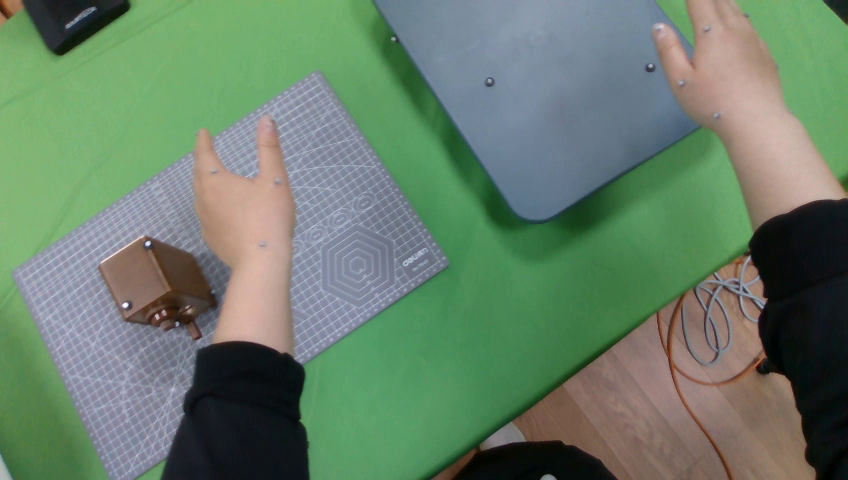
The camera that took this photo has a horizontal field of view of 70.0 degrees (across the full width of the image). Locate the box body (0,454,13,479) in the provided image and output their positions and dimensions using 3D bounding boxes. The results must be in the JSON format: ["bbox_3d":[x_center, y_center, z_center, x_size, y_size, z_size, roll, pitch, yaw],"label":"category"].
[{"bbox_3d":[-0.604,0.277,0.624,0.254,0.161,0.362,-37,77,-3],"label":"box body"}]

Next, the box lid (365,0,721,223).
[{"bbox_3d":[0.120,-0.228,0.680,0.263,0.015,0.369,-33,77,-1],"label":"box lid"}]

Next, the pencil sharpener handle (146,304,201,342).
[{"bbox_3d":[-0.258,0.090,0.636,0.036,0.068,0.030,-34,77,0],"label":"pencil sharpener handle"}]

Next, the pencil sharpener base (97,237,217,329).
[{"bbox_3d":[-0.285,0.052,0.659,0.061,0.107,0.076,-33,77,-2],"label":"pencil sharpener base"}]
